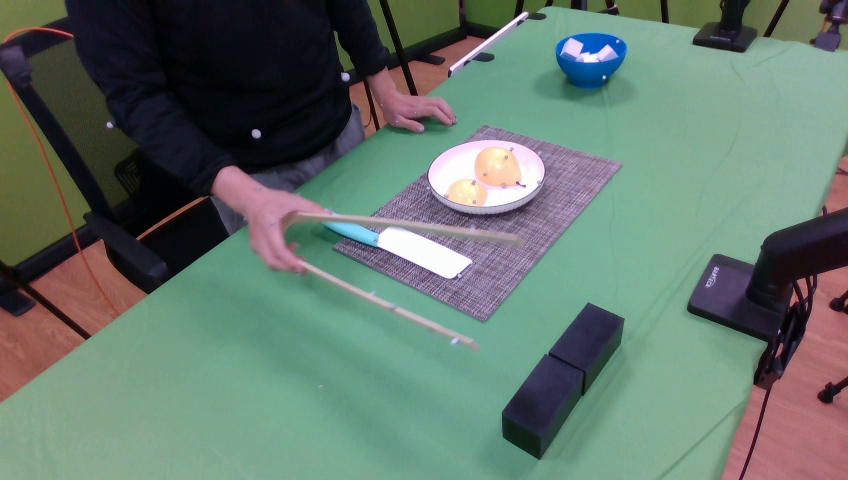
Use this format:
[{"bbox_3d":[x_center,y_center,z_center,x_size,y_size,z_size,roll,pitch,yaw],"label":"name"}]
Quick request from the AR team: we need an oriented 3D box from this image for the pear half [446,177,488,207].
[{"bbox_3d":[0.073,-0.086,1.033,0.070,0.031,0.087,-20,36,-9],"label":"pear half"}]

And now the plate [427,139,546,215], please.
[{"bbox_3d":[0.109,-0.106,1.058,0.207,0.039,0.206,-4,41,4],"label":"plate"}]

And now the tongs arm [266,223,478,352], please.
[{"bbox_3d":[-0.081,0.049,0.768,0.381,0.027,0.050,18,75,36],"label":"tongs arm"}]

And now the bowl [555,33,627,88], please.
[{"bbox_3d":[0.360,-0.384,1.318,0.151,0.077,0.150,-4,41,4],"label":"bowl"}]

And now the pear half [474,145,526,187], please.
[{"bbox_3d":[0.140,-0.129,1.059,0.076,0.056,0.109,-37,53,-24],"label":"pear half"}]

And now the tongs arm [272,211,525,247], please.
[{"bbox_3d":[-0.050,-0.013,0.787,0.385,0.028,0.028,6,71,32],"label":"tongs arm"}]

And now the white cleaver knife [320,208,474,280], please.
[{"bbox_3d":[-0.052,0.000,0.977,0.284,0.021,0.066,23,43,26],"label":"white cleaver knife"}]
